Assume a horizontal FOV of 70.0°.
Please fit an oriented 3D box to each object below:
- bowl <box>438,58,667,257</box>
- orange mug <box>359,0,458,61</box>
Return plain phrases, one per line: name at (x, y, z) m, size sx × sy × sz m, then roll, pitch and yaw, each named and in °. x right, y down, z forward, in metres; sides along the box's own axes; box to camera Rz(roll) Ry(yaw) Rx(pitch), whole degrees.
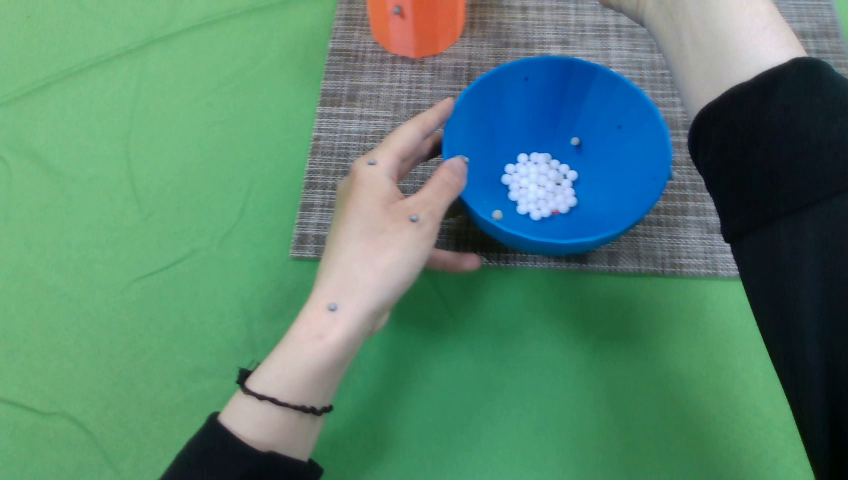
bowl at (0.085, -0.046, 0.431) m, size 0.151 × 0.077 × 0.150 m, roll 0°, pitch 63°, yaw 1°
orange mug at (-0.010, -0.233, 0.515) m, size 0.083 × 0.101 × 0.125 m, roll 13°, pitch 69°, yaw 8°
